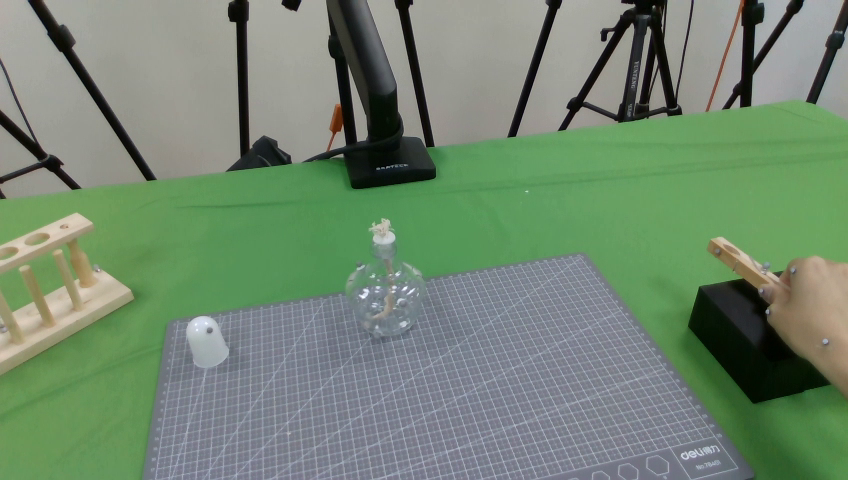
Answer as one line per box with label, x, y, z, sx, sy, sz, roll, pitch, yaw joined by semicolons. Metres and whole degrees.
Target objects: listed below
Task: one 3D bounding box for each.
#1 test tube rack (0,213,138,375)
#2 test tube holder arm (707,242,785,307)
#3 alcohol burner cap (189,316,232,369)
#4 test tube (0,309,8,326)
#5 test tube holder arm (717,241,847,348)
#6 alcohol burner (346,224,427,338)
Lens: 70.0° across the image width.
test tube rack;-0.405;0.071;0.557;0.066;0.086;0.242;24;42;31
test tube holder arm;0.298;0.031;0.559;0.010;0.015;0.087;-20;39;-15
alcohol burner cap;-0.198;0.091;0.557;0.034;0.048;0.033;0;35;1
test tube;-0.408;0.016;0.550;0.017;0.151;0.017;0;30;0
test tube holder arm;0.321;0.052;0.528;0.013;0.015;0.176;-20;39;-16
alcohol burner;-0.036;0.034;0.570;0.078;0.120;0.077;0;36;0
